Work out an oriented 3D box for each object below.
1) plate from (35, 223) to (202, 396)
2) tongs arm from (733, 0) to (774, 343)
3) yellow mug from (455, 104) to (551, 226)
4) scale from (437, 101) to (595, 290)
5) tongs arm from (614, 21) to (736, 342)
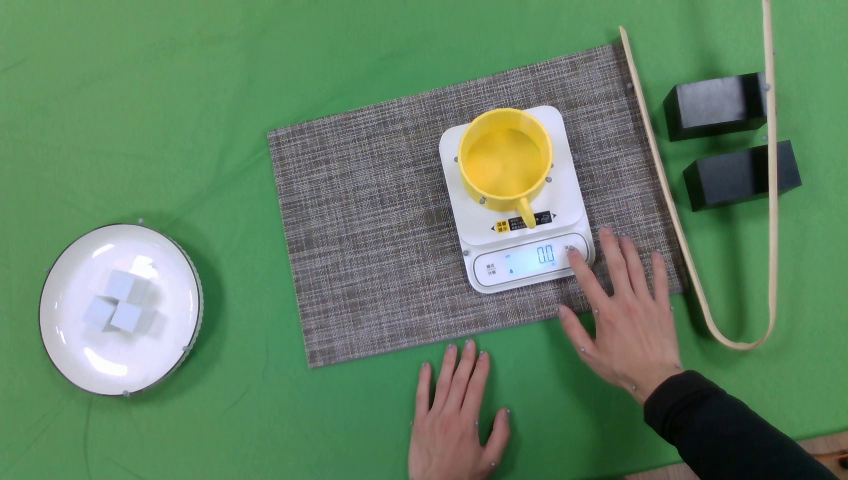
[{"bbox_3d":[-0.368,0.084,0.742,0.207,0.039,0.207,-1,83,6],"label":"plate"},{"bbox_3d":[0.343,-0.084,0.639,0.050,0.027,0.384,-4,89,34],"label":"tongs arm"},{"bbox_3d":[0.091,-0.075,0.658,0.100,0.064,0.130,-23,82,3],"label":"yellow mug"},{"bbox_3d":[0.105,-0.053,0.702,0.148,0.031,0.200,-14,83,5],"label":"scale"},{"bbox_3d":[0.277,-0.072,0.686,0.028,0.028,0.386,-19,80,29],"label":"tongs arm"}]
